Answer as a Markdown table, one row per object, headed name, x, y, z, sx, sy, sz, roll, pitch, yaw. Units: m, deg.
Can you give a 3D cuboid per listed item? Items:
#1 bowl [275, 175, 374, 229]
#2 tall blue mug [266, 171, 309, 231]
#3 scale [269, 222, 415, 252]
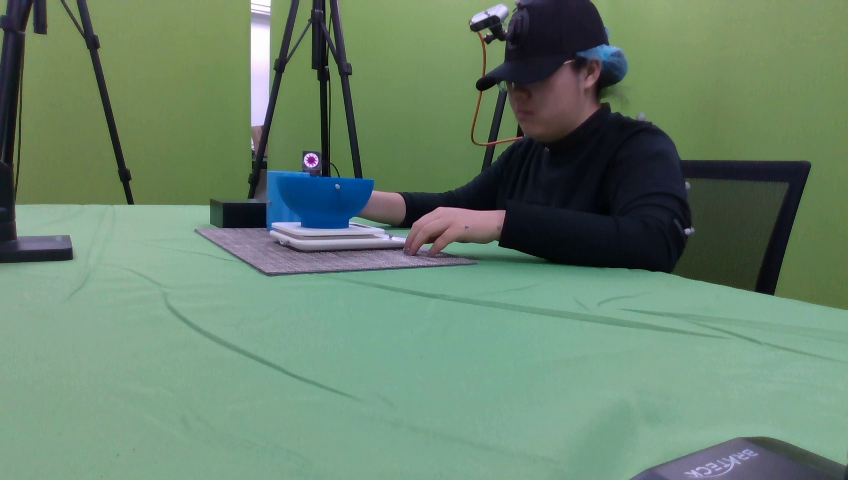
| name | x | y | z | sx | sy | sz | roll | pitch | yaw |
| --- | --- | --- | --- | --- | --- | --- | --- | --- | --- |
| bowl | -0.152 | -0.059 | 0.933 | 0.151 | 0.077 | 0.151 | 2 | 7 | 0 |
| tall blue mug | -0.244 | -0.073 | 1.122 | 0.077 | 0.108 | 0.107 | 4 | 8 | 18 |
| scale | -0.130 | -0.008 | 0.959 | 0.202 | 0.031 | 0.148 | -1 | 9 | -32 |
